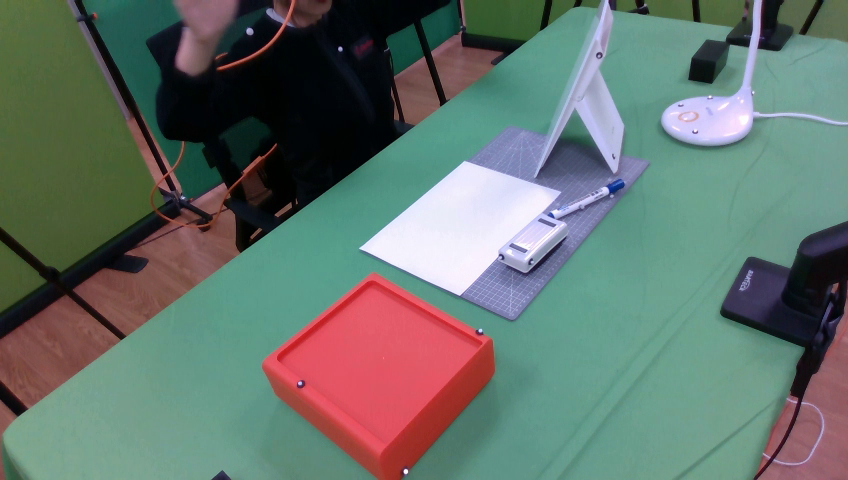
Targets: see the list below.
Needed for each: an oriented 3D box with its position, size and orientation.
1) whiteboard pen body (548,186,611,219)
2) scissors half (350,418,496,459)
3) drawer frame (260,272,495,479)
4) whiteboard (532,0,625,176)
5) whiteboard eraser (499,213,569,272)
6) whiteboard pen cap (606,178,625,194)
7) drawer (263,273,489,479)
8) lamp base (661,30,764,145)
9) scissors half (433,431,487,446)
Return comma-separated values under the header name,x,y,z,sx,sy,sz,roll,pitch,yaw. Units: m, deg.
name,x,y,z,sx,sy,sz,roll,pitch,yaw
whiteboard pen body,0.267,-0.066,1.004,0.141,0.017,0.017,-25,43,-13
scissors half,0.002,0.224,0.700,0.176,0.040,0.012,-5,38,-17
drawer frame,-0.055,0.159,0.758,0.212,0.083,0.202,26,50,33
whiteboard,0.320,-0.259,1.050,0.144,0.306,0.217,21,45,5
whiteboard eraser,0.168,0.006,0.923,0.055,0.042,0.113,29,53,34
whiteboard pen cap,0.320,-0.090,1.016,0.033,0.018,0.018,-27,43,-13
drawer,-0.057,0.159,0.760,0.210,0.073,0.195,27,51,34
lamp base,0.535,-0.287,1.096,0.179,0.181,0.159,-10,40,-4
scissors half,0.000,0.234,0.706,0.176,0.040,0.012,11,26,-25
